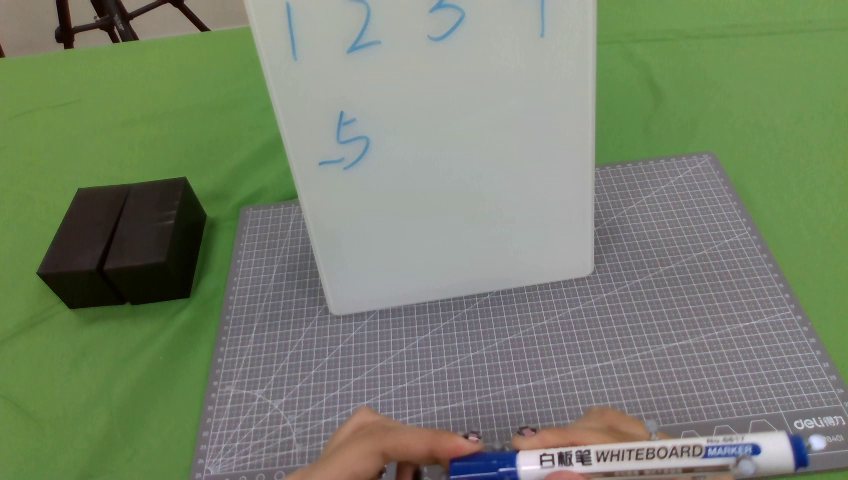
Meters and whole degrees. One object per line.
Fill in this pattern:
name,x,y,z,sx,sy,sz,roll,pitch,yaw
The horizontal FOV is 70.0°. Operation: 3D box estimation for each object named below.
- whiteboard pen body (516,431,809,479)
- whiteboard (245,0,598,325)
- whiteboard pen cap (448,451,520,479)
whiteboard pen body,0.084,0.095,0.258,0.140,0.017,0.017,-11,47,18
whiteboard,0.006,-0.113,0.469,0.217,0.308,0.142,-8,29,1
whiteboard pen cap,0.029,0.105,0.276,0.033,0.018,0.018,-8,47,15
